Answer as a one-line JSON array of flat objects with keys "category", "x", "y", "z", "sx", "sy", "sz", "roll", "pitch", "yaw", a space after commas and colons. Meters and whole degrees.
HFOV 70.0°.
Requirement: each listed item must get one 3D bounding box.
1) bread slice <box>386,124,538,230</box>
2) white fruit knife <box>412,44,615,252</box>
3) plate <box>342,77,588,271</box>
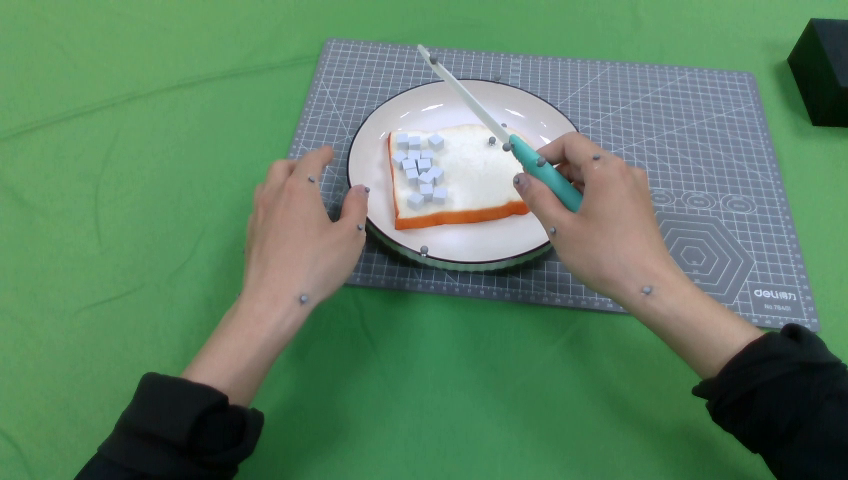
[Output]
[{"category": "bread slice", "x": 0.033, "y": -0.061, "z": 0.530, "sx": 0.131, "sy": 0.019, "sz": 0.104, "roll": -8, "pitch": 57, "yaw": -3}, {"category": "white fruit knife", "x": 0.064, "y": -0.068, "z": 0.439, "sx": 0.207, "sy": 0.027, "sz": 0.016, "roll": 44, "pitch": 81, "yaw": 0}, {"category": "plate", "x": 0.034, "y": -0.058, "z": 0.525, "sx": 0.209, "sy": 0.038, "sz": 0.207, "roll": 0, "pitch": 56, "yaw": 0}]
